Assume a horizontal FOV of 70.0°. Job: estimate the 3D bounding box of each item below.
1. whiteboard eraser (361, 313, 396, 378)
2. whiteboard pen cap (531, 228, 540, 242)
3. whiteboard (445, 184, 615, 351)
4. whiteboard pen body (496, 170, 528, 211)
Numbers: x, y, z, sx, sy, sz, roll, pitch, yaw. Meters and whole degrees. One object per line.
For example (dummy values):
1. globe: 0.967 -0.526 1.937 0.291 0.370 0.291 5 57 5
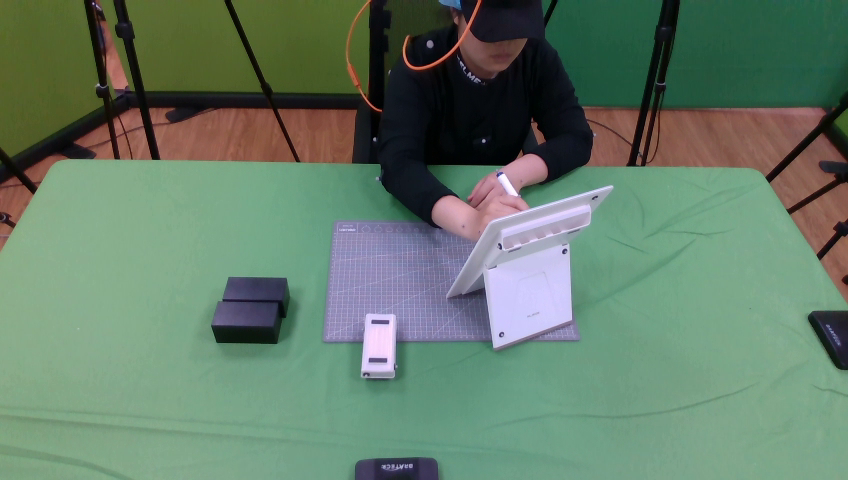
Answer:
1. whiteboard eraser: -0.075 0.176 1.006 0.055 0.042 0.112 3 50 -4
2. whiteboard pen cap: 0.225 -0.011 1.221 0.018 0.018 0.033 12 29 8
3. whiteboard: 0.187 0.066 0.989 0.217 0.306 0.143 -15 68 -18
4. whiteboard pen body: 0.166 -0.060 1.041 0.017 0.017 0.140 -26 79 -26
